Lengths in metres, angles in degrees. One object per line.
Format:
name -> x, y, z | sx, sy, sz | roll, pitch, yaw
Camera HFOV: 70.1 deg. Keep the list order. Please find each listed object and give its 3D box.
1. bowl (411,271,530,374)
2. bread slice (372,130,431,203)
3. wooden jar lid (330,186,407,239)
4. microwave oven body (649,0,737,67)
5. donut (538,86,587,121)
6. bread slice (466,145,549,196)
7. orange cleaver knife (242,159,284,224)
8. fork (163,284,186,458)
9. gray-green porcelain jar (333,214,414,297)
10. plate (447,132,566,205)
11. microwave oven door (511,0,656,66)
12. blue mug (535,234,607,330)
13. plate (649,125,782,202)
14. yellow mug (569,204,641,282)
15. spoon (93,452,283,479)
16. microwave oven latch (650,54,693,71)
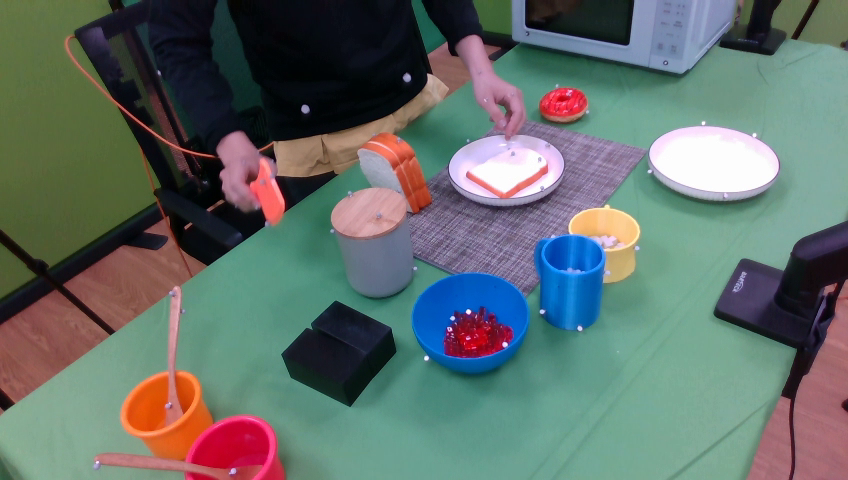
bowl -> 0.061, 0.120, 0.780 | 0.151, 0.077, 0.150 | -4, 40, 4
bread slice -> -0.042, -0.127, 1.039 | 0.106, 0.135, 0.018 | 30, 62, 33
wooden jar lid -> -0.077, -0.035, 0.846 | 0.108, 0.021, 0.108 | -5, 41, 5
microwave oven body -> 0.475, -0.602, 1.411 | 0.438, 0.261, 0.327 | 23, 50, 32
donut -> 0.283, -0.280, 1.239 | 0.099, 0.048, 0.098 | -5, 42, 5
bread slice -> 0.156, -0.128, 1.084 | 0.132, 0.019, 0.104 | -34, 49, -23
orange cleaver knife -> -0.217, -0.058, 0.810 | 0.012, 0.077, 0.210 | -23, 6, -23
fork -> -0.302, 0.157, 0.733 | 0.028, 0.019, 0.207 | -3, 84, 15
gray-green porcelain jar -> -0.071, 0.012, 0.887 | 0.106, 0.127, 0.105 | -4, 41, 4
plate -> 0.146, -0.124, 1.076 | 0.209, 0.038, 0.208 | -3, 41, 3
microwave oven door -> 0.351, -0.540, 1.349 | 0.353, 0.245, 0.039 | 24, 50, 31
blue mug -> 0.191, 0.048, 0.824 | 0.082, 0.106, 0.115 | -26, 44, -20
plate -> 0.493, -0.127, 1.036 | 0.207, 0.039, 0.206 | -4, 41, 4
yellow mug -> 0.268, -0.005, 0.904 | 0.099, 0.064, 0.130 | 7, 41, 15
spoon -> -0.240, 0.239, 0.632 | 0.195, 0.021, 0.041 | 26, 33, -32
microwave oven latch -> 0.531, -0.386, 1.301 | 0.078, 0.029, 0.030 | 26, 51, 33
